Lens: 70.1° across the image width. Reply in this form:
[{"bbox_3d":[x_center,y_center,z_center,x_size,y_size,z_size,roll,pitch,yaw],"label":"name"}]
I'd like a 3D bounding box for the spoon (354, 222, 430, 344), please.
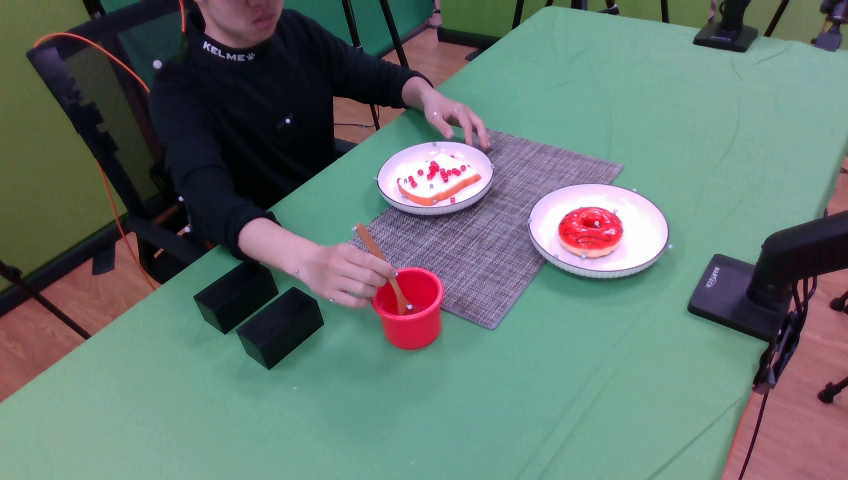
[{"bbox_3d":[-0.040,0.057,0.776,0.021,0.195,0.042,10,43,48],"label":"spoon"}]

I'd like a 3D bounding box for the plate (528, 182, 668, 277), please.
[{"bbox_3d":[0.264,-0.014,0.933,0.207,0.039,0.206,-3,42,3],"label":"plate"}]

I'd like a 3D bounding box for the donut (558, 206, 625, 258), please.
[{"bbox_3d":[0.254,-0.015,0.917,0.099,0.048,0.098,-5,41,5],"label":"donut"}]

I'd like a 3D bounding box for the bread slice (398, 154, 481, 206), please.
[{"bbox_3d":[0.021,-0.107,1.077,0.132,0.019,0.104,-32,46,-28],"label":"bread slice"}]

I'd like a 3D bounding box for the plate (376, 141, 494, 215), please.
[{"bbox_3d":[0.021,-0.106,1.073,0.209,0.038,0.208,-4,40,4],"label":"plate"}]
